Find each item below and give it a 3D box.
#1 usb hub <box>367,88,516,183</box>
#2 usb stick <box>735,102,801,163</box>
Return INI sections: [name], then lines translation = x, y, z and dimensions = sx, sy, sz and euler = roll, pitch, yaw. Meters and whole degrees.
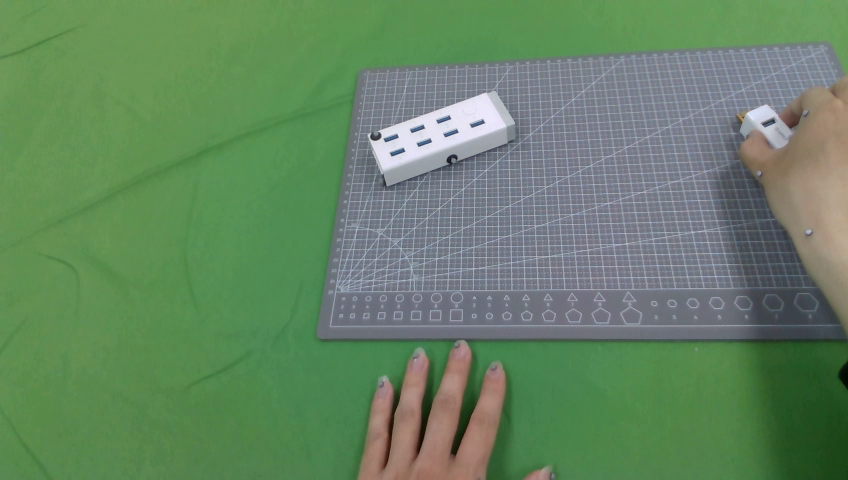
[usb hub]
translation = 0.015, -0.095, 0.542
dimensions = 0.125, 0.025, 0.049
euler = -20, 57, -5
[usb stick]
translation = 0.281, -0.094, 0.501
dimensions = 0.021, 0.027, 0.058
euler = -26, 53, 3
